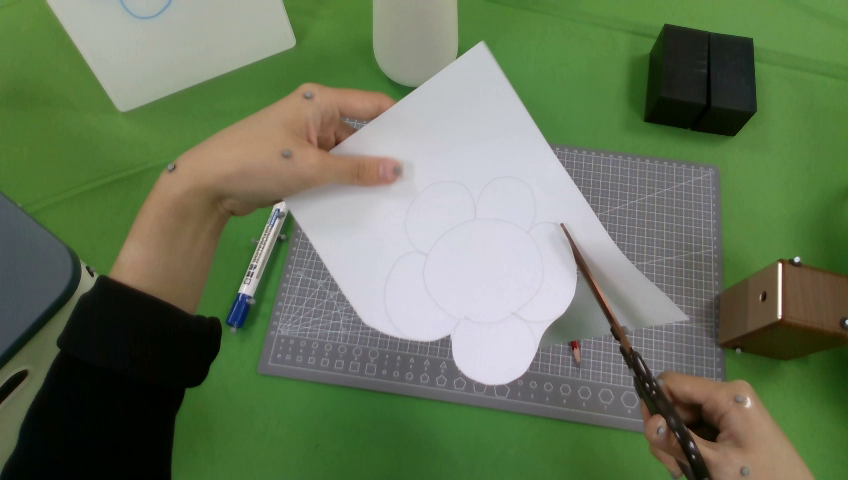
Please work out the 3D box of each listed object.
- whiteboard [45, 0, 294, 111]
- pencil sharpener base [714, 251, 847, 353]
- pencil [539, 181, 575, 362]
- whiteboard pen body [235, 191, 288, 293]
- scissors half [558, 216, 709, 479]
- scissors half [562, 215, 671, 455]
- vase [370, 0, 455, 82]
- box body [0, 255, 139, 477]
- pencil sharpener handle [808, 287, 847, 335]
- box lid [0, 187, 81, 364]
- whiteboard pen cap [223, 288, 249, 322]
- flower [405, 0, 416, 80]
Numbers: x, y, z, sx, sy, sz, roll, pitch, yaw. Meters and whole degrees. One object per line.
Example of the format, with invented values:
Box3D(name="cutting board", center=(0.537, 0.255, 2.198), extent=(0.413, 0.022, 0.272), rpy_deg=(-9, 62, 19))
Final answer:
Box3D(name="whiteboard", center=(-0.299, -0.331, 0.627), extent=(0.217, 0.308, 0.142), rpy_deg=(-25, 52, -10))
Box3D(name="pencil sharpener base", center=(0.333, 0.062, 0.565), extent=(0.077, 0.107, 0.061), rpy_deg=(12, 68, 0))
Box3D(name="pencil", center=(0.139, 0.029, 0.625), extent=(0.012, 0.012, 0.192), rpy_deg=(-5, 71, -3))
Box3D(name="whiteboard pen body", center=(-0.169, 0.011, 0.620), extent=(0.017, 0.017, 0.140), rpy_deg=(15, 68, 5))
Box3D(name="scissors half", center=(0.121, 0.063, 0.355), extent=(0.013, 0.040, 0.174), rpy_deg=(-27, 83, 2))
Box3D(name="scissors half", center=(0.122, 0.060, 0.376), extent=(0.013, 0.040, 0.176), rpy_deg=(-27, 106, 7))
Box3D(name="vase", center=(-0.014, -0.257, 0.630), extent=(0.098, 0.201, 0.097), rpy_deg=(0, 67, 0))
Box3D(name="box body", center=(-0.475, 0.042, 0.524), extent=(0.362, 0.161, 0.253), rpy_deg=(34, 72, 11))
Box3D(name="pencil sharpener handle", center=(0.384, 0.070, 0.553), extent=(0.030, 0.068, 0.035), rpy_deg=(12, 63, 0))
Box3D(name="box lid", center=(-0.475, 0.013, 0.455), extent=(0.370, 0.015, 0.262), rpy_deg=(34, 72, 11))
Box3D(name="whiteboard pen cap", center=(-0.183, 0.064, 0.597), extent=(0.018, 0.018, 0.033), rpy_deg=(14, 65, 5))
Box3D(name="flower", center=(-0.018, -0.300, 0.557), extent=(0.044, 0.365, 0.038), rpy_deg=(1, 51, 3))
